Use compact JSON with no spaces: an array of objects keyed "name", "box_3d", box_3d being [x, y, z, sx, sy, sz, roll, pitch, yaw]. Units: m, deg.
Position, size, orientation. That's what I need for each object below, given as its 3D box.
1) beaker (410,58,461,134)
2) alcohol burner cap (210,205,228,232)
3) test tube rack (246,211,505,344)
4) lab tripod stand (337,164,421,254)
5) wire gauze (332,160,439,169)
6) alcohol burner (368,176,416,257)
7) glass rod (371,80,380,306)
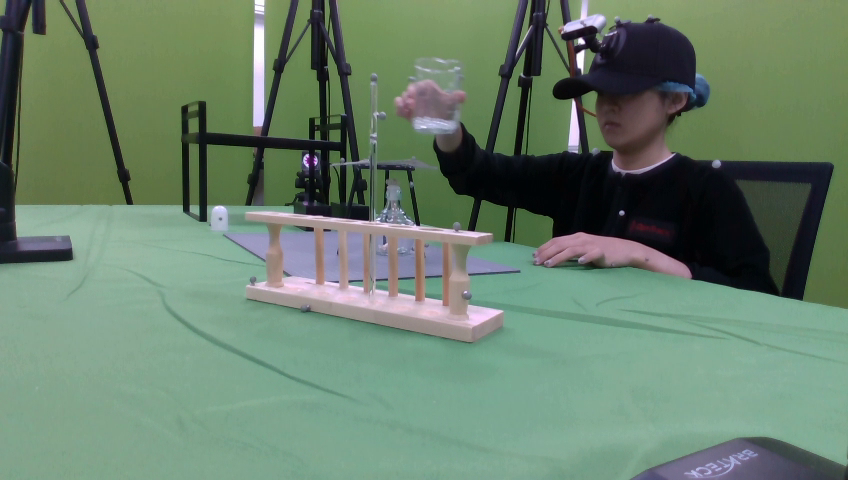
[{"name":"beaker","box_3d":[0.017,-0.210,0.891,0.074,0.100,0.083,1,3,-16]},{"name":"alcohol burner cap","box_3d":[-0.376,-0.040,1.107,0.034,0.048,0.034,2,7,0]},{"name":"test tube rack","box_3d":[-0.049,0.025,0.547,0.241,0.085,0.067,7,8,29]},{"name":"lab tripod stand","box_3d":[-0.061,-0.045,0.894,0.148,0.131,0.148,1,6,0]},{"name":"wire gauze","box_3d":[-0.054,-0.112,0.883,0.121,0.011,0.125,4,7,18]},{"name":"alcohol burner","box_3d":[-0.046,-0.035,0.896,0.078,0.119,0.078,4,5,0]},{"name":"glass rod","box_3d":[-0.042,-0.039,0.530,0.008,0.199,0.008,1,2,0]}]
